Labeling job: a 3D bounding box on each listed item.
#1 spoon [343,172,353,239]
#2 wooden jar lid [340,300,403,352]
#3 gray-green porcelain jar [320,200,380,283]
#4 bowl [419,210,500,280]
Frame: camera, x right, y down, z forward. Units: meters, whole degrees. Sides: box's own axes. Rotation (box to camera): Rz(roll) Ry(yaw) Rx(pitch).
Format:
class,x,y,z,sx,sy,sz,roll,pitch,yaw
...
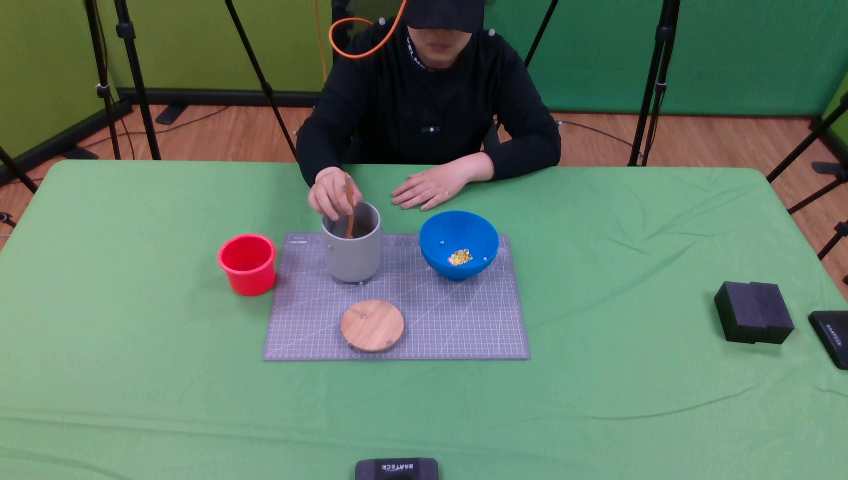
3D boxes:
class,x,y,z,sx,sy,sz,roll,pitch,yaw
spoon,-0.133,-0.035,1.063,0.022,0.194,0.041,-4,37,-16
wooden jar lid,-0.090,0.150,1.046,0.108,0.021,0.107,3,47,-3
gray-green porcelain jar,-0.132,0.007,1.106,0.106,0.127,0.105,2,46,-2
bowl,0.062,0.022,1.140,0.151,0.077,0.150,2,46,-2
